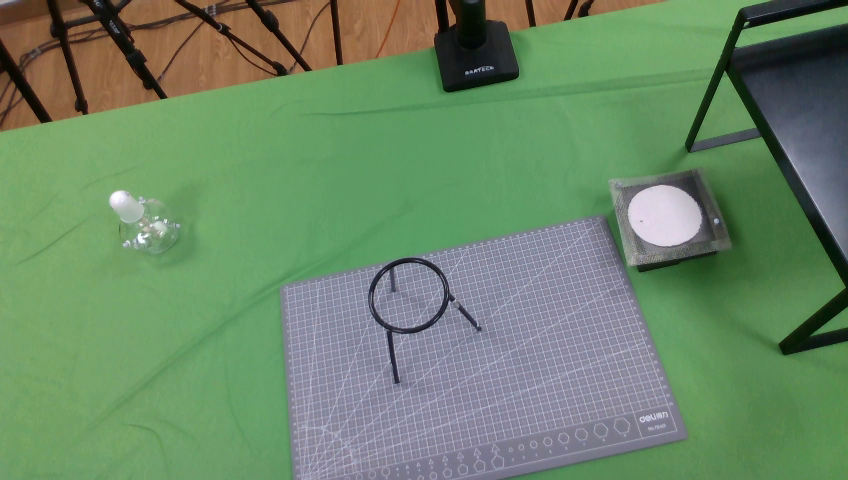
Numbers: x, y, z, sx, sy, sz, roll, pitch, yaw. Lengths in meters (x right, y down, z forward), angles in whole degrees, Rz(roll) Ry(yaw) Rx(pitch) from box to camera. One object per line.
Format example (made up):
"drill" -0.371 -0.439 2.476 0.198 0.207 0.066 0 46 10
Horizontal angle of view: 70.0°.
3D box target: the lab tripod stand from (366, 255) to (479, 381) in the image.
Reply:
"lab tripod stand" -0.014 0.083 0.711 0.148 0.132 0.147 -4 63 8

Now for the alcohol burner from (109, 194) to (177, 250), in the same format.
"alcohol burner" -0.391 -0.035 0.831 0.078 0.120 0.077 -2 64 5

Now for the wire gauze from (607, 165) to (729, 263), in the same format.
"wire gauze" 0.299 -0.036 0.749 0.121 0.011 0.124 -8 62 5

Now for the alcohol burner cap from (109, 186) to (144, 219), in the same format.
"alcohol burner cap" -0.396 -0.052 0.799 0.034 0.048 0.033 0 63 0
